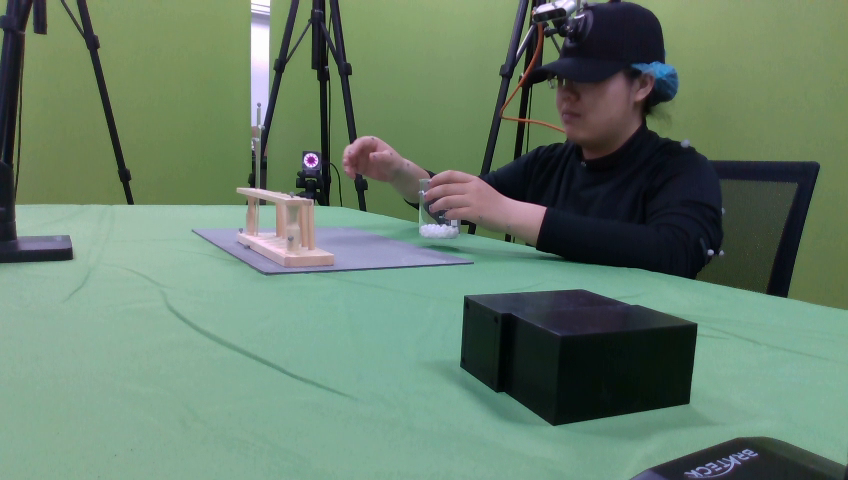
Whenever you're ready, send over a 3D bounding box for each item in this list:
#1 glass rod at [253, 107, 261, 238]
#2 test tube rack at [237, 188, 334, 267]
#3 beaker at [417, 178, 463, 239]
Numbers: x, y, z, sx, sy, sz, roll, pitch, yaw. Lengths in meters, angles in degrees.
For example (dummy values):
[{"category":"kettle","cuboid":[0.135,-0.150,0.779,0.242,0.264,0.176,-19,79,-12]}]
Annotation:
[{"category":"glass rod","cuboid":[-0.251,-0.100,0.912,0.008,0.199,0.008,3,3,0]},{"category":"test tube rack","cuboid":[-0.202,-0.024,0.854,0.067,0.085,0.241,-2,8,-30]},{"category":"beaker","cuboid":[0.030,-0.052,1.004,0.083,0.100,0.074,4,6,39]}]
